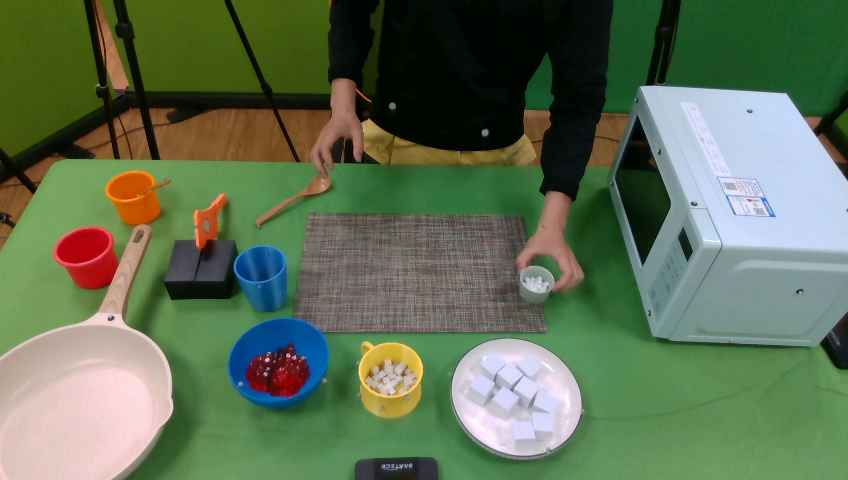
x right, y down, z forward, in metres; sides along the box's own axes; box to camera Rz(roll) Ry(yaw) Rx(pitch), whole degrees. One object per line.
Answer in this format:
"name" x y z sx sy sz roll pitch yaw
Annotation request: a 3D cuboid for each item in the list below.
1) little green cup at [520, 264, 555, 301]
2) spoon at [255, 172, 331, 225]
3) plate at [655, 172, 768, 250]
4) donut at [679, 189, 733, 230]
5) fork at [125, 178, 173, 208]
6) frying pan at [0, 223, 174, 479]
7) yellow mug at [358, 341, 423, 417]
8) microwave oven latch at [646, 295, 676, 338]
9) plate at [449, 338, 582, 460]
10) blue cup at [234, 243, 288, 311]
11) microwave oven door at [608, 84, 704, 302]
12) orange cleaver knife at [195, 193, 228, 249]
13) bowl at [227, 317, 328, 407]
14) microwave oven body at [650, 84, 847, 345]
"little green cup" 0.199 0.077 1.079 0.061 0.039 0.061 1 48 -1
"spoon" -0.272 -0.087 1.257 0.041 0.022 0.193 43 57 16
"plate" 0.556 -0.053 1.186 0.209 0.038 0.208 2 45 -1
"donut" 0.545 -0.062 1.176 0.099 0.048 0.098 0 45 0
"fork" -0.525 -0.090 1.154 0.207 0.019 0.028 -17 27 45
"frying pan" -0.504 0.169 0.941 0.307 0.103 0.485 5 54 -1
"yellow mug" -0.063 0.210 0.961 0.100 0.064 0.130 -29 54 -28
"microwave oven latch" 0.412 0.133 1.061 0.030 0.029 0.078 3 46 0
"plate" 0.141 0.251 0.955 0.208 0.039 0.206 2 47 -2
"blue cup" -0.276 0.072 1.052 0.093 0.101 0.092 1 48 -1
"microwave oven door" 0.425 -0.096 1.138 0.039 0.245 0.353 2 47 -1
"orange cleaver knife" -0.406 -0.041 1.163 0.012 0.077 0.210 0 18 -3
"bowl" -0.222 0.203 0.947 0.151 0.077 0.150 2 46 -2
"microwave oven body" 0.569 -0.054 1.116 0.326 0.261 0.439 2 46 -1
